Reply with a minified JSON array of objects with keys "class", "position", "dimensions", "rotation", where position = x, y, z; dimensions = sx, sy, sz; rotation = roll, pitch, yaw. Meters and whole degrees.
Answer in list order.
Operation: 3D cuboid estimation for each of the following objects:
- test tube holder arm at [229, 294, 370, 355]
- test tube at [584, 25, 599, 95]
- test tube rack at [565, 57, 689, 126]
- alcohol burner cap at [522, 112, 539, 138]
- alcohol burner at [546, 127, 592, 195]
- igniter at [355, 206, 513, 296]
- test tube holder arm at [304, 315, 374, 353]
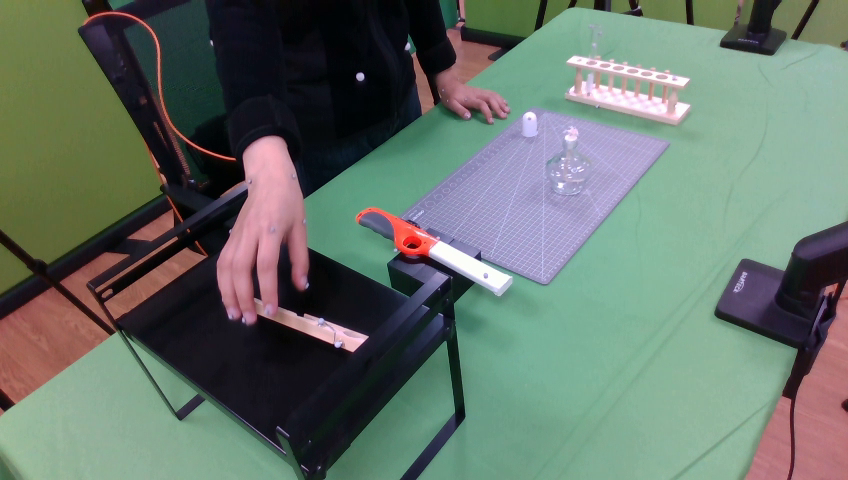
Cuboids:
[{"class":"test tube holder arm","position":[-0.131,0.084,0.618],"dimensions":[0.177,0.015,0.013],"rotation":[14,7,25]},{"class":"test tube","position":[0.339,-0.361,1.224],"dimensions":[0.017,0.151,0.017],"rotation":[-4,45,4]},{"class":"test tube rack","position":[0.412,-0.311,1.230],"dimensions":[0.240,0.085,0.067],"rotation":[24,49,32]},{"class":"alcohol burner cap","position":[0.210,-0.230,1.195],"dimensions":[0.034,0.048,0.033],"rotation":[-6,41,6]},{"class":"alcohol burner","position":[0.246,-0.137,1.024],"dimensions":[0.078,0.119,0.077],"rotation":[-4,38,4]},{"class":"igniter","position":[0.006,0.009,0.885],"dimensions":[0.274,0.025,0.057],"rotation":[27,54,30]},{"class":"test tube holder arm","position":[-0.089,0.093,0.604],"dimensions":[0.087,0.015,0.010],"rotation":[14,7,26]}]
